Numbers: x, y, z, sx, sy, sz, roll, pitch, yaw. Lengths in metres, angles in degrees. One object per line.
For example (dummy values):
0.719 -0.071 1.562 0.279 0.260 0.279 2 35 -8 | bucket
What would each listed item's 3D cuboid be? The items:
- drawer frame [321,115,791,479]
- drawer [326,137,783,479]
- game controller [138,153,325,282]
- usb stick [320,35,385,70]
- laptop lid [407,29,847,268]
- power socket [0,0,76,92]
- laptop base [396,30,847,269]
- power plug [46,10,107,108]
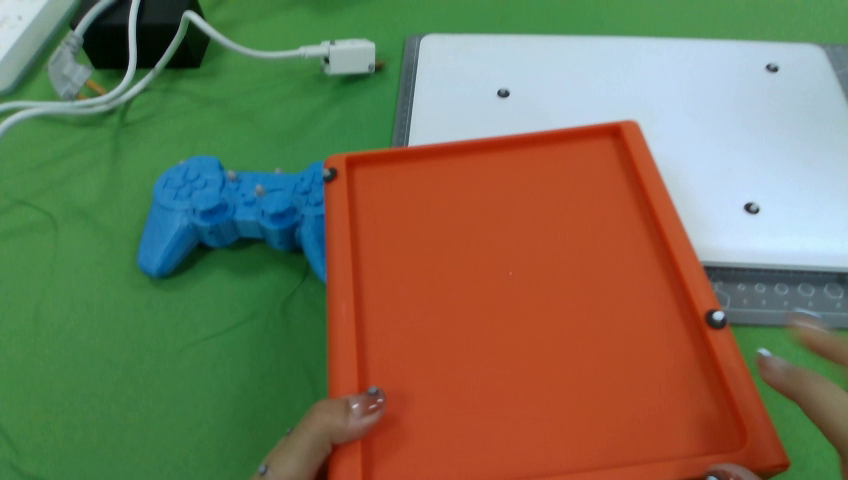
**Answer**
0.048 0.042 0.339 0.202 0.083 0.211 -8 56 -1 | drawer frame
0.049 0.046 0.339 0.194 0.074 0.209 -7 55 -2 | drawer
-0.124 -0.021 0.438 0.155 0.052 0.096 4 52 3 | game controller
-0.062 -0.168 0.542 0.059 0.027 0.021 -12 32 -32 | usb stick
0.163 -0.085 0.475 0.356 0.013 0.239 4 58 4 | laptop lid
-0.397 -0.227 0.593 0.072 0.033 0.225 6 56 4 | power socket
0.163 -0.080 0.486 0.354 0.023 0.233 3 59 3 | laptop base
-0.290 -0.152 0.521 0.072 0.053 0.035 -50 33 4 | power plug
